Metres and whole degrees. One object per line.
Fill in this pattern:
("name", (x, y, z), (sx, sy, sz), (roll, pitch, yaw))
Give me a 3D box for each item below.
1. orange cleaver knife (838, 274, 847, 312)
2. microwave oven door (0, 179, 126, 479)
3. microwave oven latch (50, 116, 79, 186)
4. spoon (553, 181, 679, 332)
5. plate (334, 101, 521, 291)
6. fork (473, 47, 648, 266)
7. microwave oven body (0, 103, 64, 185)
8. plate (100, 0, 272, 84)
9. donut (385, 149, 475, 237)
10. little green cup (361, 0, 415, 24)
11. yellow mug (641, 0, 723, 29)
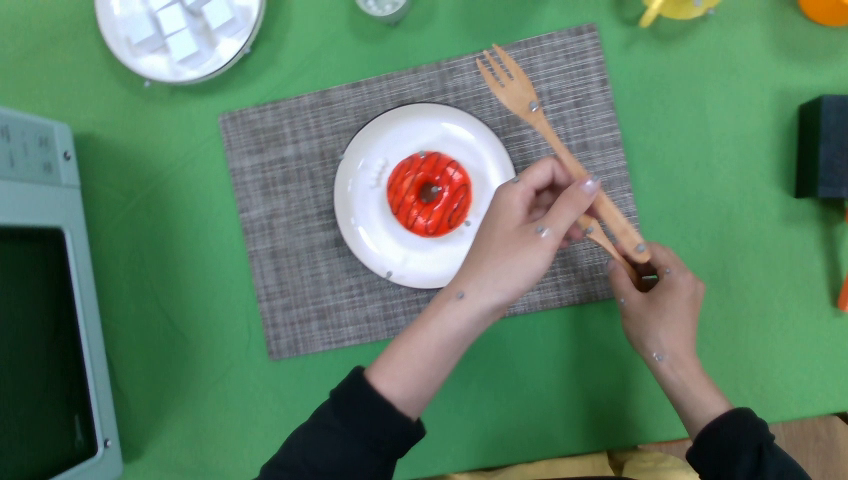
("orange cleaver knife", (0.445, -0.027, 0.602), (0.012, 0.076, 0.213), (4, 121, 10))
("microwave oven door", (-0.417, 0.114, 0.617), (0.039, 0.244, 0.355), (-9, 90, 8))
("microwave oven latch", (-0.434, -0.105, 0.717), (0.030, 0.029, 0.079), (-6, 91, 7))
("spoon", (0.197, 0.019, 0.621), (0.041, 0.022, 0.193), (-38, 86, -22))
("plate", (0.004, -0.048, 0.677), (0.209, 0.038, 0.209), (0, 92, 8))
("fork", (0.101, -0.065, 0.456), (0.028, 0.019, 0.206), (-36, 72, 8))
("microwave oven body", (-0.565, 0.093, 0.641), (0.326, 0.260, 0.441), (-9, 90, 7))
("plate", (-0.274, -0.284, 0.712), (0.207, 0.039, 0.207), (0, 91, 8))
("donut", (0.007, -0.051, 0.665), (0.099, 0.048, 0.099), (0, 93, 9))
("little green cup", (-0.039, -0.275, 0.682), (0.061, 0.038, 0.061), (0, 91, 8))
("yellow mug", (0.270, -0.276, 0.627), (0.100, 0.064, 0.131), (37, 96, 5))
